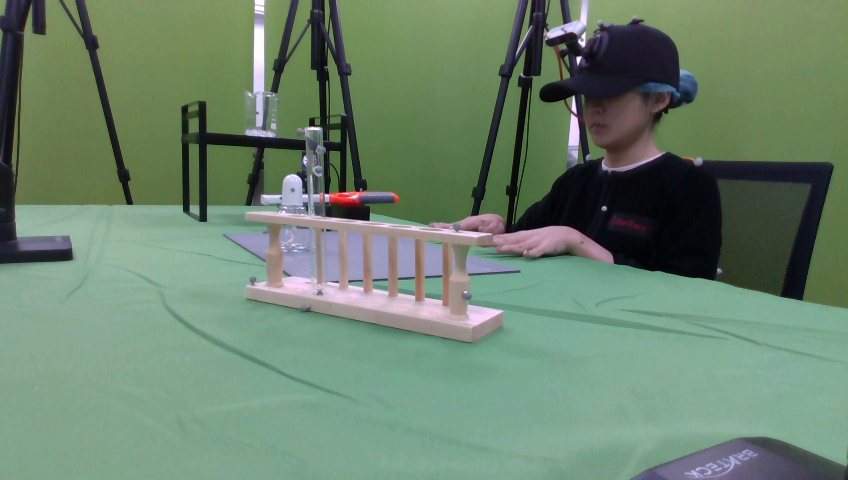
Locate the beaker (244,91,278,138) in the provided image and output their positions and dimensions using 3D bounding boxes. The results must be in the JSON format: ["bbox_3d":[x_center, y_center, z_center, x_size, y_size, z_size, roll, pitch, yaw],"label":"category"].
[{"bbox_3d":[-0.367,-0.280,1.356,0.074,0.100,0.084,4,8,6],"label":"beaker"}]

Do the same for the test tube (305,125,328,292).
[{"bbox_3d":[-0.096,-0.027,0.546,0.017,0.150,0.017,0,8,0],"label":"test tube"}]

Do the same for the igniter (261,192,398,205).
[{"bbox_3d":[-0.185,-0.083,1.217,0.278,0.025,0.057,-2,12,-25],"label":"igniter"}]

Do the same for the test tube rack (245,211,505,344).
[{"bbox_3d":[-0.049,0.025,0.547,0.241,0.085,0.067,7,8,29],"label":"test tube rack"}]

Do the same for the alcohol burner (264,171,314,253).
[{"bbox_3d":[-0.194,-0.042,0.888,0.078,0.119,0.078,3,5,0],"label":"alcohol burner"}]

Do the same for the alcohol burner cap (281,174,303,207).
[{"bbox_3d":[-0.193,-0.072,0.884,0.034,0.048,0.034,1,5,0],"label":"alcohol burner cap"}]
